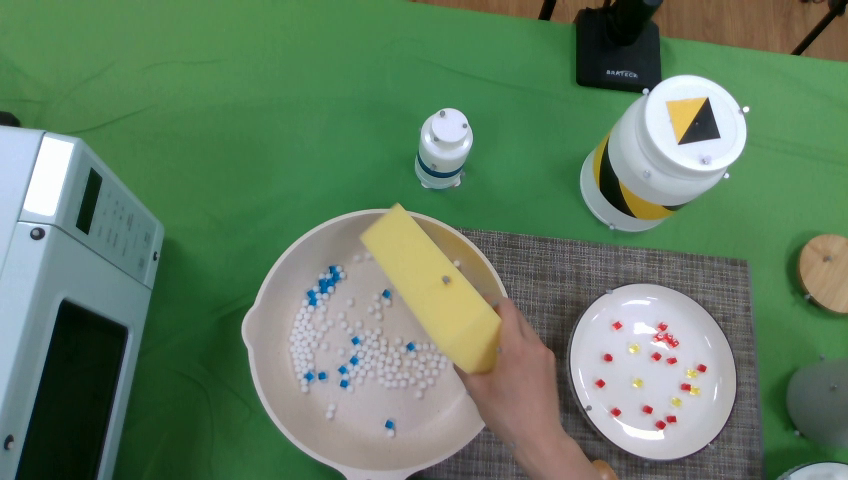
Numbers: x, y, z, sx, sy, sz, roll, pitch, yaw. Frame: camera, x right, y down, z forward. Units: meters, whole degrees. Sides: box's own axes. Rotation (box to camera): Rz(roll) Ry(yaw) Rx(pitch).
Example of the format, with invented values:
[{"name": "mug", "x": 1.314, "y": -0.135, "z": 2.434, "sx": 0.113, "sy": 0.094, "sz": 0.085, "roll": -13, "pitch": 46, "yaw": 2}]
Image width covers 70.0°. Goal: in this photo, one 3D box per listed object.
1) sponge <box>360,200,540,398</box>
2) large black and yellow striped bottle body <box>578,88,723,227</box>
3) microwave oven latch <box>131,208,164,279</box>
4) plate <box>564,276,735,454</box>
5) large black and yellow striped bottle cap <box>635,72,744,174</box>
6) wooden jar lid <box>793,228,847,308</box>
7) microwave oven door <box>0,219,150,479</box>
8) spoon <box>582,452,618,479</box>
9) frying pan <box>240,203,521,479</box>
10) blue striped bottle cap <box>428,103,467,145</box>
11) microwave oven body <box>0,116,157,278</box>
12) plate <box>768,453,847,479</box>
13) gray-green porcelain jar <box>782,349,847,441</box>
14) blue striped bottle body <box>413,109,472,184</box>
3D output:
[{"name": "sponge", "x": 0.021, "y": 0.056, "z": 0.640, "sx": 0.061, "sy": 0.119, "sz": 0.204, "roll": -42, "pitch": 42, "yaw": 1}, {"name": "large black and yellow striped bottle body", "x": 0.277, "y": -0.103, "z": 0.733, "sx": 0.131, "sy": 0.184, "sz": 0.130, "roll": 2, "pitch": 73, "yaw": -5}, {"name": "microwave oven latch", "x": -0.320, "y": 0.003, "z": 0.691, "sx": 0.030, "sy": 0.029, "sz": 0.078, "roll": 9, "pitch": 74, "yaw": -4}, {"name": "plate", "x": 0.268, "y": 0.148, "z": 0.733, "sx": 0.209, "sy": 0.038, "sz": 0.208, "roll": 2, "pitch": 74, "yaw": -5}, {"name": "large black and yellow striped bottle cap", "x": 0.286, "y": -0.127, "z": 0.651, "sx": 0.115, "sy": 0.019, "sz": 0.114, "roll": 2, "pitch": 73, "yaw": -5}, {"name": "wooden jar lid", "x": 0.543, "y": 0.038, "z": 0.809, "sx": 0.108, "sy": 0.021, "sz": 0.108, "roll": 2, "pitch": 76, "yaw": -5}, {"name": "microwave oven door", "x": -0.332, "y": 0.184, "z": 0.533, "sx": 0.039, "sy": 0.244, "sz": 0.354, "roll": 6, "pitch": 73, "yaw": -4}, {"name": "spoon", "x": 0.249, "y": 0.321, "z": 0.692, "sx": 0.193, "sy": 0.022, "sz": 0.041, "roll": 46, "pitch": 57, "yaw": 6}, {"name": "frying pan", "x": -0.052, "y": 0.198, "z": 0.649, "sx": 0.307, "sy": 0.103, "sz": 0.484, "roll": 5, "pitch": 66, "yaw": -3}, {"name": "blue striped bottle cap", "x": 0.027, "y": -0.133, "z": 0.691, "sx": 0.044, "sy": 0.021, "sz": 0.044, "roll": 2, "pitch": 71, "yaw": -4}, {"name": "microwave oven body", "x": -0.472, "y": 0.128, "z": 0.538, "sx": 0.326, "sy": 0.261, "sz": 0.439, "roll": 7, "pitch": 74, "yaw": -5}, {"name": "plate", "x": 0.473, "y": 0.355, "z": 0.703, "sx": 0.208, "sy": 0.039, "sz": 0.206, "roll": 2, "pitch": 74, "yaw": -6}, {"name": "gray-green porcelain jar", "x": 0.499, "y": 0.181, "z": 0.708, "sx": 0.106, "sy": 0.127, "sz": 0.105, "roll": 2, "pitch": 74, "yaw": -6}, {"name": "blue striped bottle body", "x": 0.022, "y": -0.119, "z": 0.741, "sx": 0.063, "sy": 0.121, "sz": 0.062, "roll": 2, "pitch": 74, "yaw": -6}]
